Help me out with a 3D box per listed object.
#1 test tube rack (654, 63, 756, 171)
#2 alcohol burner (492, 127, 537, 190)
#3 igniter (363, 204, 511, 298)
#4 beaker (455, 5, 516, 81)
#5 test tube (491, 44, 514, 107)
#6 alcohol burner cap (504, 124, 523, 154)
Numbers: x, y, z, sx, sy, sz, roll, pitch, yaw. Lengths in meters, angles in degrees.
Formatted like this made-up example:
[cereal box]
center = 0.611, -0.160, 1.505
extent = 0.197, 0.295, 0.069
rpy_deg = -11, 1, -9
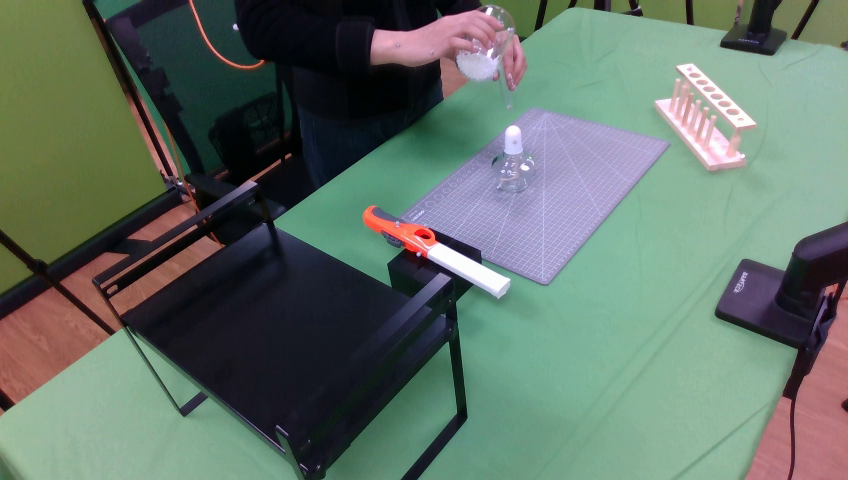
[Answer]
[test tube rack]
center = 0.511, -0.233, 1.120
extent = 0.067, 0.085, 0.241
rpy_deg = -8, 41, -1
[alcohol burner]
center = 0.156, -0.146, 1.046
extent = 0.078, 0.119, 0.077
rpy_deg = -4, 43, 4
[igniter]
center = 0.007, 0.009, 0.887
extent = 0.274, 0.025, 0.057
rpy_deg = 29, 50, 32
[beaker]
center = 0.096, -0.308, 0.960
extent = 0.073, 0.084, 0.100
rpy_deg = 13, 59, 19
[test tube]
center = 0.141, -0.289, 1.076
extent = 0.017, 0.151, 0.017
rpy_deg = -8, 59, 15
[alcohol burner cap]
center = 0.151, -0.173, 1.022
extent = 0.034, 0.048, 0.033
rpy_deg = -4, 36, 3
